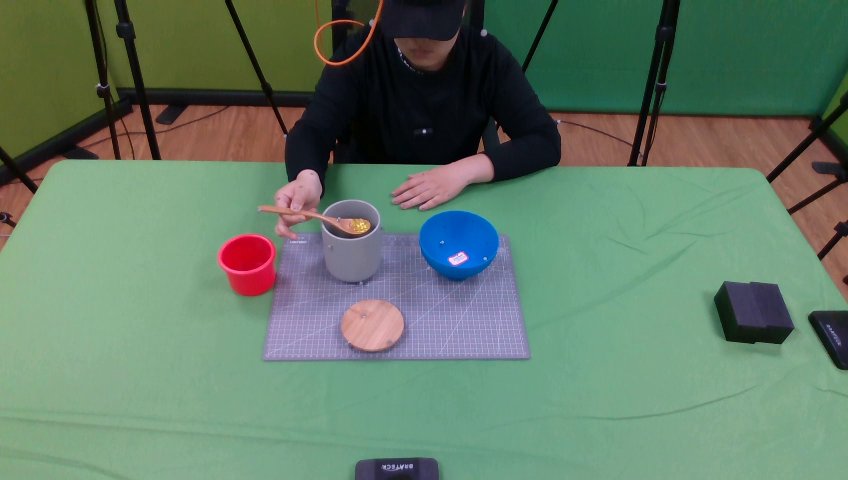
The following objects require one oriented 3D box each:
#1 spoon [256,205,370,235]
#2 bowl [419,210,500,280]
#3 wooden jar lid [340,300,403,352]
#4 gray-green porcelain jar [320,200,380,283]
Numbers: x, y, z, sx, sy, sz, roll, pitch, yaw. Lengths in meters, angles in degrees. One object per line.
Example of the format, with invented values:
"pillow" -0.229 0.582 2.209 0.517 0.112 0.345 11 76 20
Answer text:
"spoon" -0.190 -0.040 1.046 0.194 0.022 0.041 14 41 -17
"bowl" 0.062 0.022 1.140 0.151 0.077 0.150 2 46 -2
"wooden jar lid" -0.090 0.150 1.046 0.108 0.021 0.107 3 47 -3
"gray-green porcelain jar" -0.133 0.007 1.106 0.106 0.127 0.105 2 46 -2
